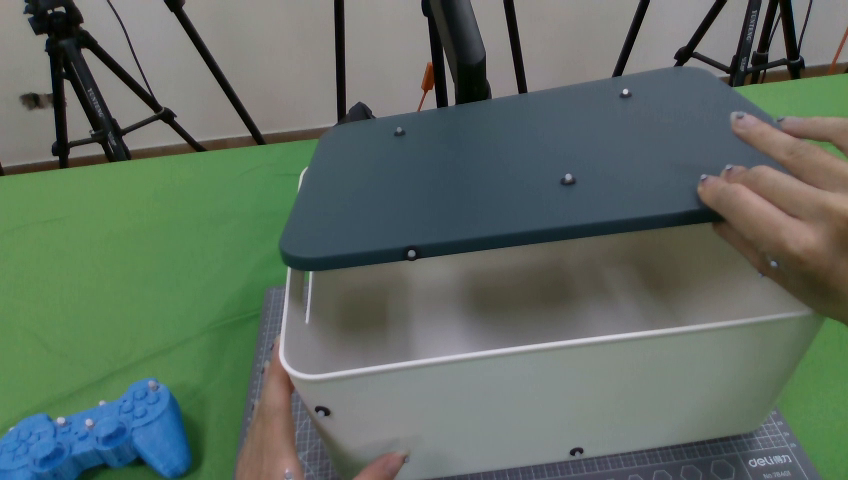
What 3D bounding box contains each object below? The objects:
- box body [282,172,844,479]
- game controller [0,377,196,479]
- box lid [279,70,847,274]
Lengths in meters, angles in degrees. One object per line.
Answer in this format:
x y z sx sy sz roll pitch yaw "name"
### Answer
0.087 0.043 0.512 0.364 0.162 0.251 -8 40 -1 "box body"
-0.277 0.171 0.507 0.155 0.052 0.096 -16 37 -12 "game controller"
0.081 -0.069 0.480 0.371 0.015 0.261 -9 30 3 "box lid"
